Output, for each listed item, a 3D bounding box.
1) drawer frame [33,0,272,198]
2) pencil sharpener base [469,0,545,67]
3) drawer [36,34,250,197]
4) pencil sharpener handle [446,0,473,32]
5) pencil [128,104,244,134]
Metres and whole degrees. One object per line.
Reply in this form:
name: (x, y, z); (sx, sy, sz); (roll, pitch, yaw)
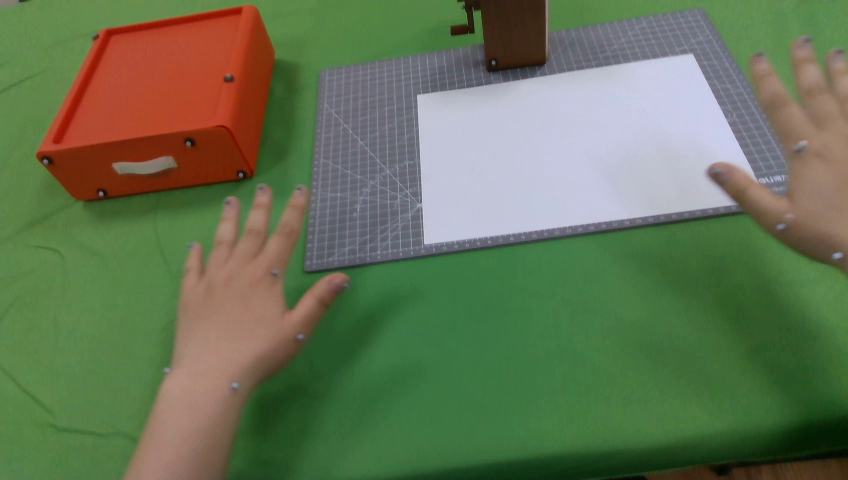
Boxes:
drawer frame: (-0.284, -0.157, 0.668); (0.201, 0.083, 0.211); (-8, 52, 5)
pencil sharpener base: (0.088, -0.248, 0.648); (0.076, 0.108, 0.061); (-6, 53, 7)
drawer: (-0.283, -0.155, 0.668); (0.194, 0.074, 0.209); (-7, 52, 6)
pencil sharpener handle: (0.036, -0.251, 0.645); (0.030, 0.068, 0.035); (-6, 59, 7)
pencil: (-0.278, -0.141, 0.693); (0.193, 0.012, 0.012); (15, 58, 27)
